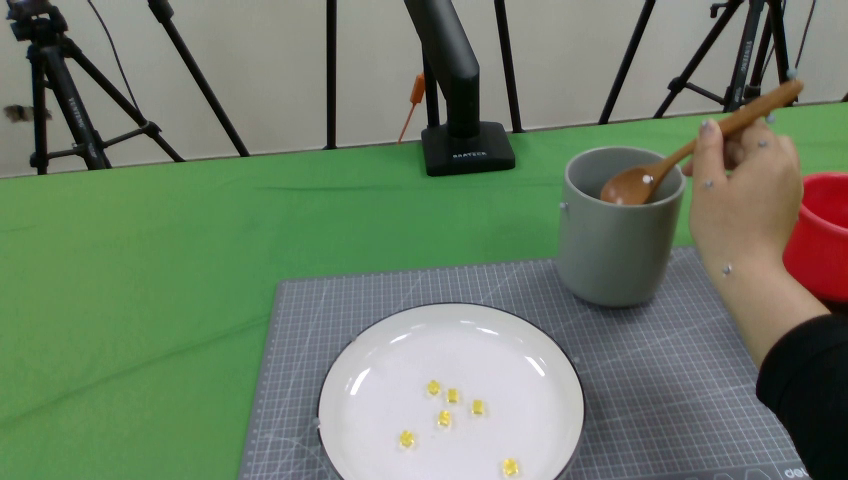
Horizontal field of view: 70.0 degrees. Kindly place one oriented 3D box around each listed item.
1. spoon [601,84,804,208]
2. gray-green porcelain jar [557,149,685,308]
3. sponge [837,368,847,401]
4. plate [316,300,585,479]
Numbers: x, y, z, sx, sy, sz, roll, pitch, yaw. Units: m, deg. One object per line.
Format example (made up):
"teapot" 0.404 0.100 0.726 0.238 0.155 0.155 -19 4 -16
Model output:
"spoon" 0.207 -0.064 0.477 0.022 0.194 0.041 8 67 -19
"gray-green porcelain jar" 0.182 -0.007 0.578 0.106 0.127 0.105 -3 38 2
"sponge" 0.409 0.153 0.407 0.118 0.061 0.204 -7 37 -5
"plate" 0.021 0.132 0.484 0.207 0.039 0.205 -2 37 2
